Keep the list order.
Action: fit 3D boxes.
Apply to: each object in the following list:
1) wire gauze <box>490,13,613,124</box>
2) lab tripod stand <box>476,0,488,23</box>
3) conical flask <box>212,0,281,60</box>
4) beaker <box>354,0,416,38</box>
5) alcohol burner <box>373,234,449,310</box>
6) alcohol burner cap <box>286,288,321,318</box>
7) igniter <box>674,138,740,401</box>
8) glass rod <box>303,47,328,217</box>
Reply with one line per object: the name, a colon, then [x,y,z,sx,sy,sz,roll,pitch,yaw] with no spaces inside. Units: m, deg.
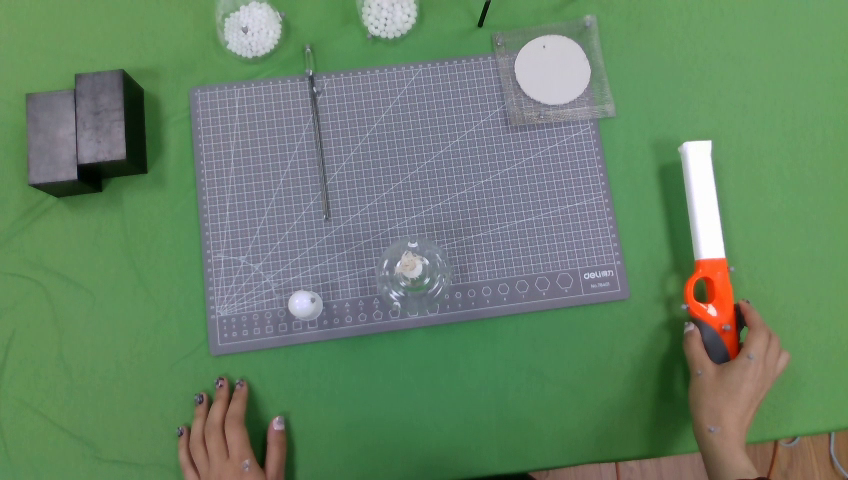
wire gauze: [0.145,-0.195,0.692,0.125,0.011,0.121,-8,81,-3]
lab tripod stand: [0.111,-0.315,0.650,0.148,0.132,0.148,0,82,-1]
conical flask: [-0.199,-0.250,0.638,0.075,0.122,0.075,0,80,-1]
beaker: [-0.044,-0.275,0.658,0.074,0.100,0.083,-5,79,-2]
alcohol burner: [-0.013,0.030,0.598,0.078,0.119,0.077,0,82,-1]
alcohol burner cap: [-0.127,0.064,0.626,0.034,0.048,0.033,0,81,-2]
igniter: [0.296,0.028,0.638,0.057,0.025,0.275,-3,82,-2]
glass rod: [-0.121,-0.123,0.673,0.008,0.008,0.199,-8,81,-3]
